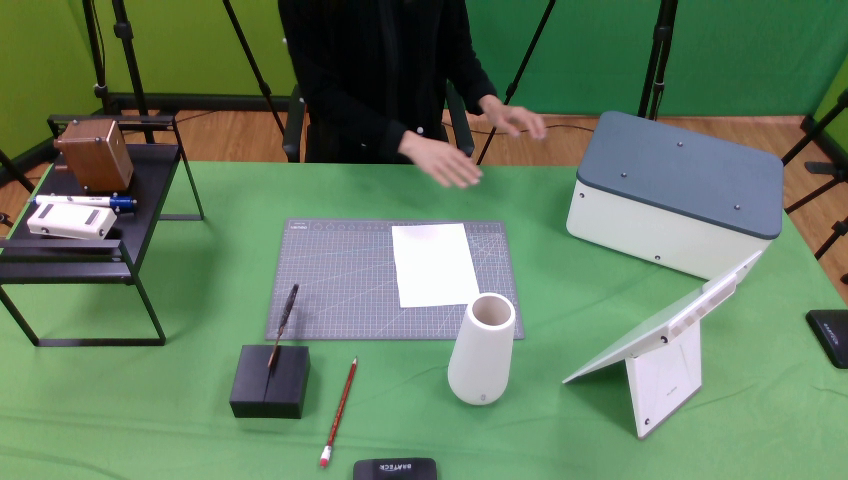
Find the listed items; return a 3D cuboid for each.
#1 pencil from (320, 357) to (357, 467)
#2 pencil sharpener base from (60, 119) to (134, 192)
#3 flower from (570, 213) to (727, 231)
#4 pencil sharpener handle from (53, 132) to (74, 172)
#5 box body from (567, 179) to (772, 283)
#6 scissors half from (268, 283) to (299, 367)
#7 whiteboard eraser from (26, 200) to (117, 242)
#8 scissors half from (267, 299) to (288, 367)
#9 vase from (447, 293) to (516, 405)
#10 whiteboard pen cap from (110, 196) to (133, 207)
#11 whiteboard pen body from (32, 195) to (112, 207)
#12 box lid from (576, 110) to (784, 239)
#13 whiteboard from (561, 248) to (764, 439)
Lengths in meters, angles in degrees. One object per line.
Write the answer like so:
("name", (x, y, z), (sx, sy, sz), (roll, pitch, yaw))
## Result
("pencil", (-0.130, 0.261, 0.946), (0.012, 0.012, 0.193), (10, 45, 5))
("pencil sharpener base", (-0.528, -0.135, 0.979), (0.077, 0.107, 0.061), (-4, 47, -7))
("flower", (0.479, -0.039, 1.270), (0.362, 0.038, 0.044), (-1, 15, -13))
("pencil sharpener handle", (-0.578, -0.138, 0.961), (0.031, 0.068, 0.036), (-4, 34, -7))
("box body", (0.493, -0.086, 1.220), (0.363, 0.161, 0.253), (19, 48, 14))
("scissors half", (-0.230, 0.135, 0.986), (0.013, 0.040, 0.174), (19, 43, -11))
("whiteboard eraser", (-0.532, -0.026, 0.919), (0.113, 0.042, 0.055), (7, 45, 3))
("scissors half", (-0.239, 0.150, 0.997), (0.013, 0.040, 0.174), (24, 24, -13))
("vase", (0.091, 0.169, 0.921), (0.098, 0.201, 0.097), (3, 47, -3))
("whiteboard pen cap", (-0.486, -0.061, 0.972), (0.033, 0.018, 0.018), (0, 46, -9))
("whiteboard pen body", (-0.543, -0.061, 0.961), (0.141, 0.017, 0.017), (1, 46, -10))
("box lid", (0.498, -0.137, 1.167), (0.371, 0.015, 0.262), (19, 48, 14))
("whiteboard", (0.386, 0.176, 0.905), (0.217, 0.306, 0.143), (-26, 72, -27))
